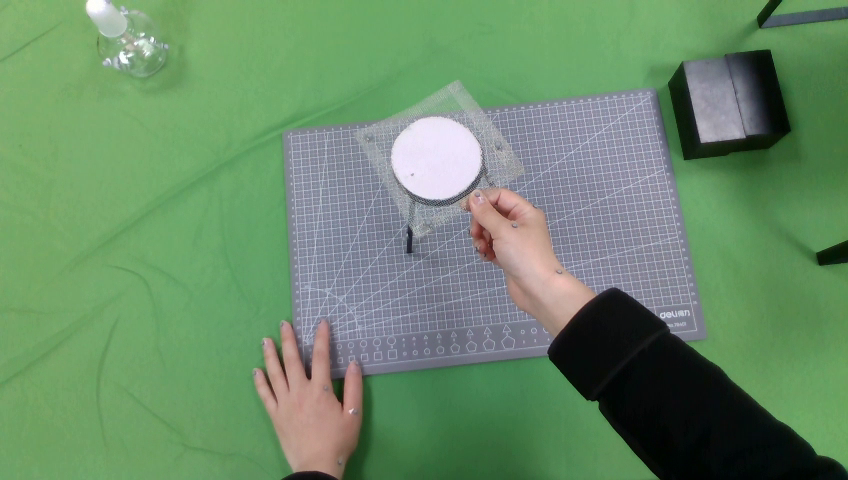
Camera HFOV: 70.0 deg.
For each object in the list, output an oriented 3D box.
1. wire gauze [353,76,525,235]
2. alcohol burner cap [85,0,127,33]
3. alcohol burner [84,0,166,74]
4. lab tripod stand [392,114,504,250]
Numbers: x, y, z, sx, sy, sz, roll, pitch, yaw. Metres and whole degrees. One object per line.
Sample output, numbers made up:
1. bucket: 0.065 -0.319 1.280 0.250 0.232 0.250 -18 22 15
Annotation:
1. wire gauze: 0.013 -0.085 0.570 0.121 0.011 0.124 -30 74 -9
2. alcohol burner cap: -0.355 -0.256 0.670 0.034 0.048 0.033 1 78 -4
3. alcohol burner: -0.353 -0.246 0.706 0.078 0.119 0.077 0 78 2
4. lab tripod stand: 0.014 -0.066 0.639 0.148 0.132 0.147 -1 76 4
